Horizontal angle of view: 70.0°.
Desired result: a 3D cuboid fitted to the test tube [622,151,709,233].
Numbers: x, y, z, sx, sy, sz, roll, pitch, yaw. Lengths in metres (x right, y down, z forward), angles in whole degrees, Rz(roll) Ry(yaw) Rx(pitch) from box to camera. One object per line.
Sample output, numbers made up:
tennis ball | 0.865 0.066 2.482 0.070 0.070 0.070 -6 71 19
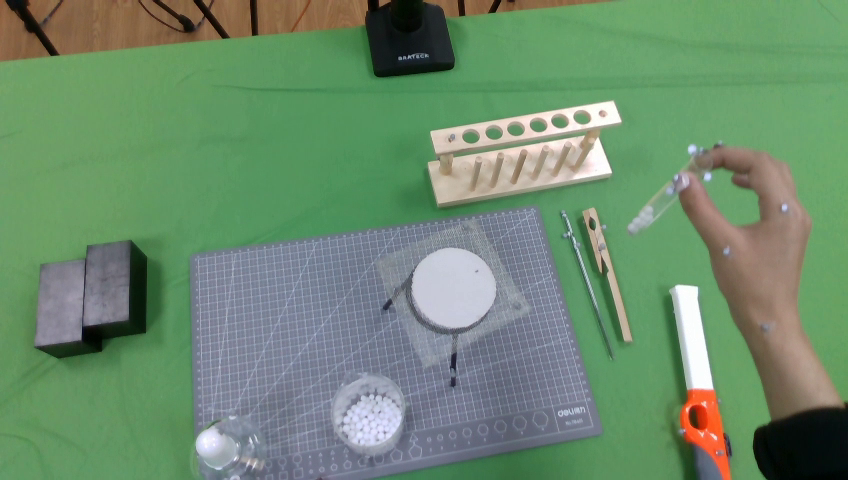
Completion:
test tube | 0.197 -0.035 0.508 0.017 0.151 0.017 1 72 -1

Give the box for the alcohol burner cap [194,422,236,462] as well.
alcohol burner cap | -0.203 0.192 0.582 0.034 0.048 0.033 1 57 -1

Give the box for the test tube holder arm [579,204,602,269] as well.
test tube holder arm | 0.218 -0.005 0.784 0.010 0.015 0.087 -22 66 24

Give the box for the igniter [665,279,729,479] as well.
igniter | 0.316 0.178 0.704 0.057 0.025 0.274 6 66 -11

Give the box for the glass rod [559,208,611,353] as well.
glass rod | 0.201 0.047 0.765 0.008 0.008 0.198 -10 67 -7

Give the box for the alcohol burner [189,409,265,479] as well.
alcohol burner | -0.203 0.208 0.614 0.078 0.120 0.077 1 64 -1

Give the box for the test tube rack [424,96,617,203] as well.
test tube rack | 0.126 -0.117 0.791 0.243 0.086 0.066 -11 67 -7

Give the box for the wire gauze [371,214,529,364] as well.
wire gauze | 0.025 0.044 0.613 0.121 0.011 0.124 -24 70 -11

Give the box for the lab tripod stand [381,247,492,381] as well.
lab tripod stand | 0.018 0.073 0.673 0.148 0.132 0.147 0 67 -1

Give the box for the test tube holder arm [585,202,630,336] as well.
test tube holder arm | 0.231 0.034 0.765 0.013 0.015 0.177 -22 66 24

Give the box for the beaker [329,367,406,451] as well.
beaker | -0.060 0.181 0.641 0.074 0.101 0.083 -29 70 -15
